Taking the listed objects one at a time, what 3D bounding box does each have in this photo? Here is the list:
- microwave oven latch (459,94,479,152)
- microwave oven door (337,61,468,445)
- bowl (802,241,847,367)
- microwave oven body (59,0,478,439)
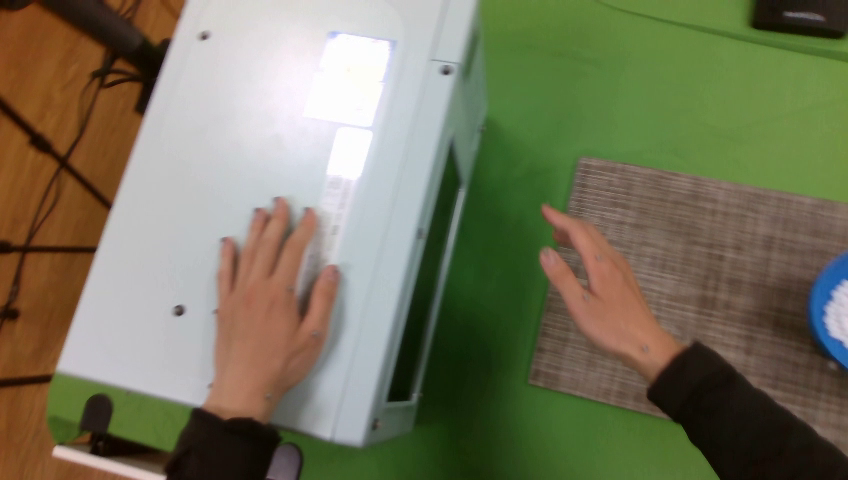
[{"bbox_3d":[0.053,-0.156,0.787,0.030,0.029,0.079,10,79,10],"label":"microwave oven latch"},{"bbox_3d":[-0.011,0.028,0.648,0.039,0.245,0.354,10,78,11],"label":"microwave oven door"},{"bbox_3d":[0.484,0.077,0.663,0.151,0.077,0.150,-2,77,8],"label":"bowl"},{"bbox_3d":[-0.143,-0.036,0.687,0.325,0.261,0.440,10,79,10],"label":"microwave oven body"}]
